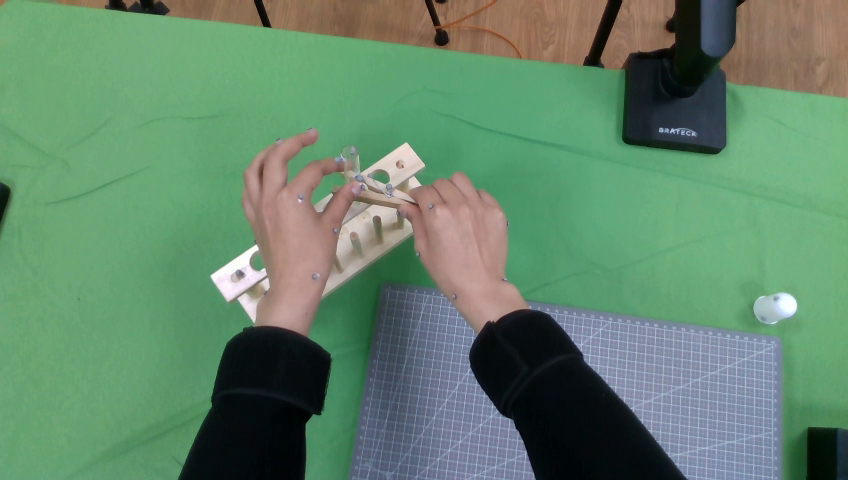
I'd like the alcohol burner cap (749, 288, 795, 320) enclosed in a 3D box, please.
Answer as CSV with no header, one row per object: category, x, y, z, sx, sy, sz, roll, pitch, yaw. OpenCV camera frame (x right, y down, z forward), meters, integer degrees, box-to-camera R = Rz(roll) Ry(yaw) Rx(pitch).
alcohol burner cap,0.385,0.070,0.666,0.034,0.048,0.033,0,75,0

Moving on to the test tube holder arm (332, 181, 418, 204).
test tube holder arm,-0.047,-0.046,0.595,0.087,0.015,0.010,8,79,12

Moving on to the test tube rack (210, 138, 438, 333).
test tube rack,-0.097,-0.002,0.654,0.242,0.085,0.066,-36,78,-9

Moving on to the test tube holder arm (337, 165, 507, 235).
test tube holder arm,-0.004,-0.040,0.586,0.177,0.015,0.013,19,82,14

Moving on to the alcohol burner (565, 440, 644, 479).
alcohol burner,0.178,0.232,0.580,0.078,0.119,0.077,1,74,-2

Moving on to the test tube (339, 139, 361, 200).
test tube,-0.071,-0.060,0.594,0.017,0.151,0.017,1,74,-4
